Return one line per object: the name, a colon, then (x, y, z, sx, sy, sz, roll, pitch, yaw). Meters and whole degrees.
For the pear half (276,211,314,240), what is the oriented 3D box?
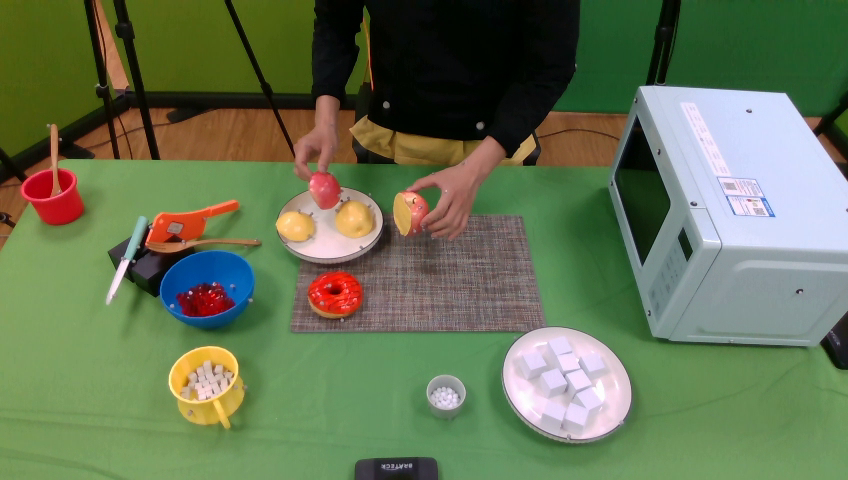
pear half: (-0.244, -0.036, 1.179, 0.070, 0.031, 0.088, 43, 42, 3)

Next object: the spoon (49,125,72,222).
spoon: (-0.717, -0.131, 1.189, 0.042, 0.021, 0.193, -3, 90, -7)

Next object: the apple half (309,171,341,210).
apple half: (-0.182, -0.096, 1.152, 0.033, 0.082, 0.081, -17, 38, 29)

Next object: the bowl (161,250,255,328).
bowl: (-0.362, 0.097, 1.040, 0.151, 0.077, 0.150, 2, 45, -2)

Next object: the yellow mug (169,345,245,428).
yellow mug: (-0.322, 0.230, 0.922, 0.100, 0.064, 0.130, -24, 53, -25)

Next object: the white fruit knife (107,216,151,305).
white fruit knife: (-0.518, 0.032, 1.066, 0.027, 0.016, 0.206, -18, 45, 19)

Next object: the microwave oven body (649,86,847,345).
microwave oven body: (0.567, -0.053, 1.118, 0.326, 0.261, 0.439, 2, 45, -1)

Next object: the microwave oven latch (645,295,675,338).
microwave oven latch: (0.411, 0.134, 1.061, 0.030, 0.029, 0.078, 3, 45, 0)

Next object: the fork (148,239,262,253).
fork: (-0.398, 0.008, 1.117, 0.208, 0.019, 0.028, -5, 34, -37)

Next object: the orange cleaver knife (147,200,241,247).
orange cleaver knife: (-0.435, -0.033, 1.157, 0.012, 0.077, 0.211, 31, 26, 19)

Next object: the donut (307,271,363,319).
donut: (-0.157, 0.097, 1.073, 0.099, 0.048, 0.098, 4, 45, -4)

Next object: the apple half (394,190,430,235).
apple half: (-0.018, -0.050, 1.117, 0.053, 0.075, 0.080, -8, 48, -25)

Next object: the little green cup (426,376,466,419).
little green cup: (0.033, 0.248, 0.950, 0.061, 0.039, 0.061, 2, 46, -2)

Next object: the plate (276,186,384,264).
plate: (-0.184, -0.027, 1.194, 0.209, 0.038, 0.208, 2, 46, -2)

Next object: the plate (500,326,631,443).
plate: (0.224, 0.233, 0.978, 0.208, 0.039, 0.206, 2, 46, -2)

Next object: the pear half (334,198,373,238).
pear half: (-0.147, -0.060, 1.210, 0.076, 0.056, 0.109, -16, 46, -24)

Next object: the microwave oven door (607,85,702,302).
microwave oven door: (0.423, -0.094, 1.140, 0.039, 0.245, 0.353, 2, 46, -1)
